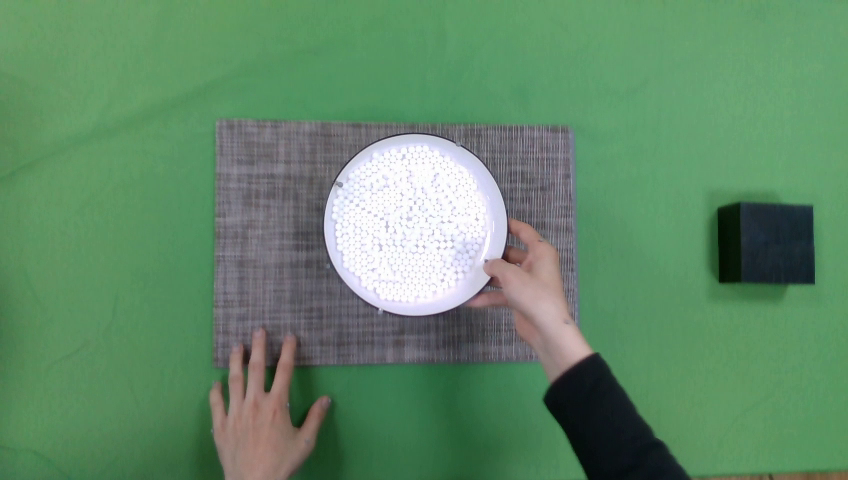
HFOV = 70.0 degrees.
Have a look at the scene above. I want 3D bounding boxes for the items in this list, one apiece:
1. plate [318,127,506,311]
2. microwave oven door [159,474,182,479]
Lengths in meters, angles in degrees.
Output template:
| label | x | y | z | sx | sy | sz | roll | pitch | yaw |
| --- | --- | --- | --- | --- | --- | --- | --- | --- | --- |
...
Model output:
| label | x | y | z | sx | sy | sz | roll | pitch | yaw |
| --- | --- | --- | --- | --- | --- | --- | --- | --- | --- |
| plate | -0.013 | -0.023 | 0.685 | 0.209 | 0.038 | 0.208 | 1 | 84 | -5 |
| microwave oven door | -0.437 | 0.319 | 0.560 | 0.356 | 0.244 | 0.039 | -14 | 86 | -7 |
